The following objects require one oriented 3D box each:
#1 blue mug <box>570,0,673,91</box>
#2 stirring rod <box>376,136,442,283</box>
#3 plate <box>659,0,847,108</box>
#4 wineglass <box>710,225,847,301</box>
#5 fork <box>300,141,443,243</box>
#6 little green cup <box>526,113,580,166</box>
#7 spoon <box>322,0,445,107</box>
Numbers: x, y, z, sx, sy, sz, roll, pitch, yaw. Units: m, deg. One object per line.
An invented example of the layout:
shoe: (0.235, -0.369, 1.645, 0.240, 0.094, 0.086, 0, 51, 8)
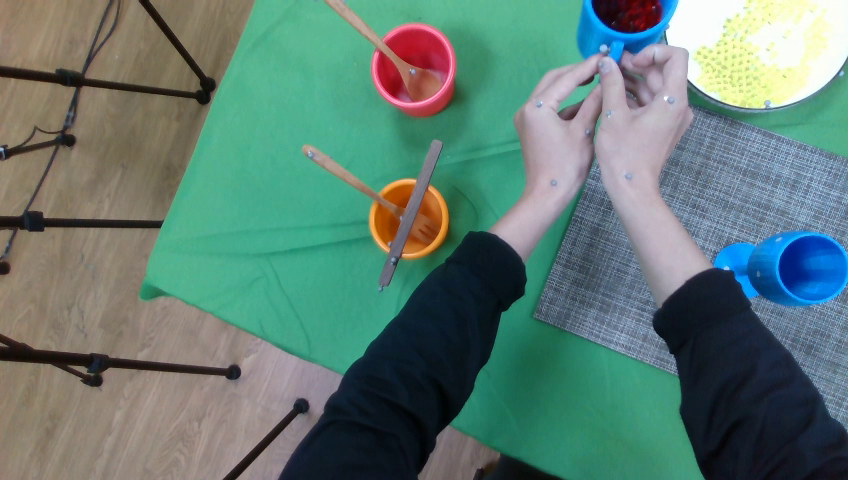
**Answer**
blue mug: (0.184, -0.203, 0.587, 0.082, 0.106, 0.116, 12, 91, 9)
stirring rod: (-0.017, -0.034, 0.679, 0.014, 0.006, 0.176, 21, 90, 9)
plate: (0.374, -0.251, 0.693, 0.209, 0.038, 0.209, 0, 88, 8)
wineglass: (0.350, 0.025, 0.613, 0.073, 0.172, 0.073, 0, 87, 8)
fork: (-0.055, -0.052, 0.687, 0.209, 0.018, 0.028, 33, 99, -35)
little green cup: (0.152, -0.116, 0.718, 0.061, 0.039, 0.061, 0, 88, 9)
spoon: (-0.046, -0.221, 0.696, 0.196, 0.021, 0.041, 36, 94, -35)
